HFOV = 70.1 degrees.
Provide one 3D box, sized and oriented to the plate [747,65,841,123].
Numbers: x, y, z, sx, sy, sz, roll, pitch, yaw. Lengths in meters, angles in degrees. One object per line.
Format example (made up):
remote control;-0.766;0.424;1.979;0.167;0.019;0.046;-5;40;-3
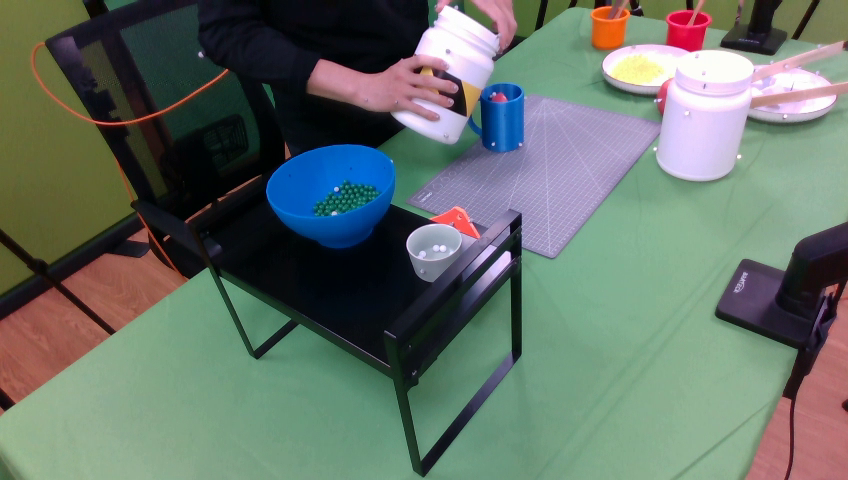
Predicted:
plate;0.694;-0.282;1.189;0.207;0.039;0.206;-4;40;4

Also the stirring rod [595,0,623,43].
stirring rod;0.460;-0.556;1.459;0.014;0.006;0.176;30;93;23

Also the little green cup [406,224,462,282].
little green cup;0.012;0.015;0.668;0.061;0.039;0.061;-4;40;4

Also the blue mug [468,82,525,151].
blue mug;0.138;-0.241;1.169;0.116;0.106;0.082;11;44;21

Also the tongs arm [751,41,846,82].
tongs arm;0.708;-0.331;1.194;0.386;0.026;0.050;-19;45;-16

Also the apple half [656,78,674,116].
apple half;0.488;-0.281;1.192;0.053;0.075;0.081;24;54;37

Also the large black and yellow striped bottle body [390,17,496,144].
large black and yellow striped bottle body;0.036;-0.270;1.019;0.131;0.184;0.130;25;18;-8

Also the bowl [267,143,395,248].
bowl;-0.104;-0.043;0.726;0.151;0.077;0.150;-4;41;4

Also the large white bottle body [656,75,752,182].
large white bottle body;0.472;-0.207;1.022;0.130;0.185;0.130;-4;41;4

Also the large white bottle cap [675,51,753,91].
large white bottle cap;0.463;-0.271;0.967;0.115;0.018;0.114;-4;40;4

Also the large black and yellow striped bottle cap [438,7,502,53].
large black and yellow striped bottle cap;0.076;-0.344;0.992;0.115;0.019;0.114;30;14;-8

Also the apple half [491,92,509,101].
apple half;0.141;-0.239;1.158;0.033;0.081;0.080;-13;40;-16

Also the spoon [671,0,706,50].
spoon;0.628;-0.520;1.394;0.041;0.022;0.193;30;96;34

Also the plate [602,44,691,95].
plate;0.494;-0.367;1.317;0.209;0.038;0.208;-4;40;4

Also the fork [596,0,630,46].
fork;0.481;-0.556;1.452;0.028;0.019;0.207;40;103;40

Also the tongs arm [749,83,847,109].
tongs arm;0.735;-0.280;1.134;0.388;0.028;0.028;-9;47;-5

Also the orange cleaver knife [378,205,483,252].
orange cleaver knife;0.005;-0.010;0.944;0.210;0.077;0.012;-5;23;47
